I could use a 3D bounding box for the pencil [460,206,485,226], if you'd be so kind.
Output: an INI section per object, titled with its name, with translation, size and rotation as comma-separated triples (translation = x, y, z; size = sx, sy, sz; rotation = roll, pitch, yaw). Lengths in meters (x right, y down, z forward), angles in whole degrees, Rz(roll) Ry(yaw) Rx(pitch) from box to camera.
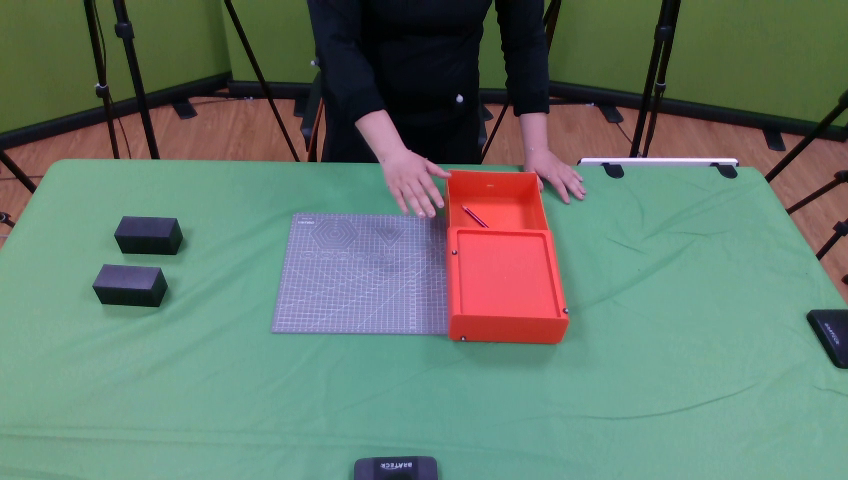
[pencil]
translation = 0.133, -0.016, 1.222
size = 0.012, 0.012, 0.193
rotation = -25, 50, -26

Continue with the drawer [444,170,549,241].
[drawer]
translation = 0.140, -0.049, 1.217
size = 0.194, 0.073, 0.210
rotation = 2, 43, -3

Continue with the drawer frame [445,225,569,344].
[drawer frame]
translation = 0.141, 0.076, 1.089
size = 0.202, 0.083, 0.212
rotation = 2, 47, -3
